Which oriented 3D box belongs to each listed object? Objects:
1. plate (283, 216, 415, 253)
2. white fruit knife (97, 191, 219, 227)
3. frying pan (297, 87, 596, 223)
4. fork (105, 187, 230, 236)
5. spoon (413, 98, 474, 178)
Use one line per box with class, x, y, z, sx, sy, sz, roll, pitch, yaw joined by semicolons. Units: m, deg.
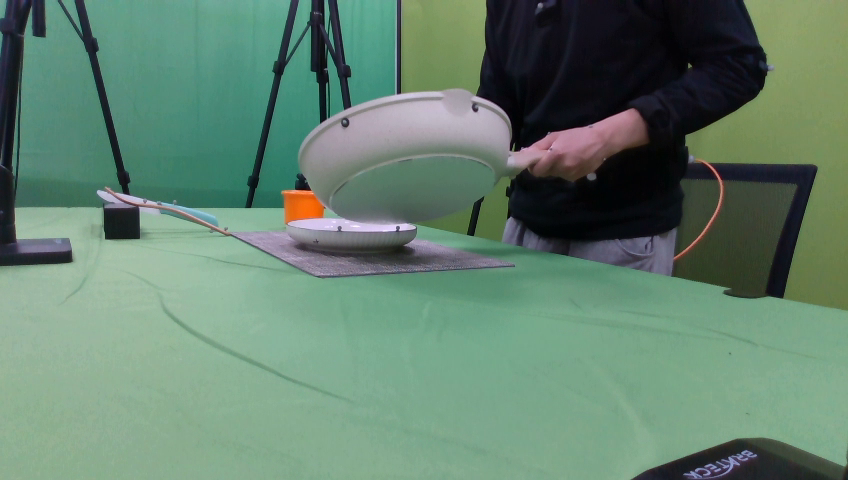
plate;-0.119;-0.009;0.968;0.208;0.039;0.207;3;7;0
white fruit knife;-0.468;-0.057;1.079;0.208;0.027;0.016;15;-2;-29
frying pan;0.068;-0.112;0.869;0.490;0.102;0.306;-10;-15;-30
fork;-0.428;-0.047;1.020;0.208;0.018;0.028;19;-8;-26
spoon;0.025;-0.161;0.921;0.193;0.021;0.042;54;7;35
